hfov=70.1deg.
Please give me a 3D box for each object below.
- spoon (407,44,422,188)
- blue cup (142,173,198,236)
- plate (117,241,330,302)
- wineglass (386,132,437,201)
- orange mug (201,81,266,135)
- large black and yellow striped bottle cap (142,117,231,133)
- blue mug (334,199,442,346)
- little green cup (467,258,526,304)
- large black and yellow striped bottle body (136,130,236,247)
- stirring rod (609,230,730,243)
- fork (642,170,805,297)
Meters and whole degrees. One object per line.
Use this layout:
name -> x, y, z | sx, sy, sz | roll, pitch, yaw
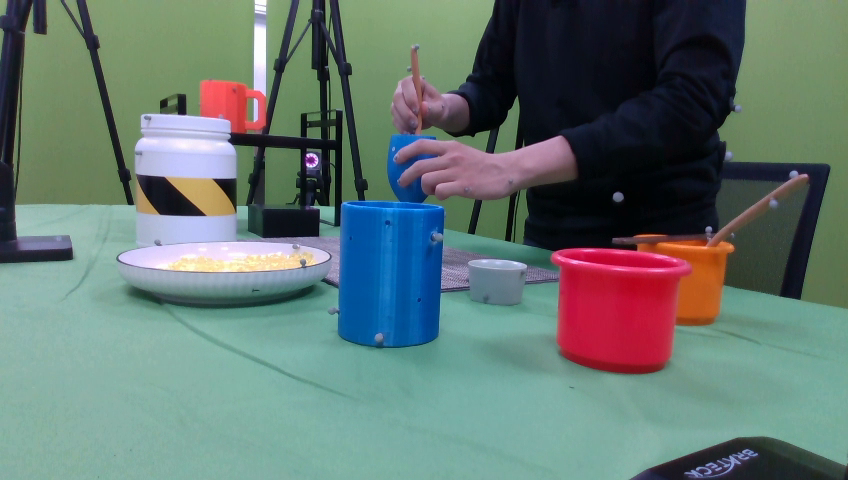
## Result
spoon -> -0.013, -0.169, 0.832 | 0.022, 0.193, 0.041 | -1, 7, -16
blue cup -> -0.425, -0.060, 1.014 | 0.093, 0.100, 0.092 | 4, 9, 0
plate -> -0.203, 0.031, 0.630 | 0.209, 0.038, 0.209 | 3, 7, 0
wineglass -> -0.019, -0.061, 0.842 | 0.074, 0.172, 0.073 | 2, 8, 0
orange mug -> -0.377, -0.260, 1.198 | 0.126, 0.101, 0.083 | -3, 8, -6
large black and yellow striped bottle cap -> -0.328, -0.159, 0.839 | 0.115, 0.019, 0.115 | 1, 9, 0
blue mug -> -0.034, 0.020, 0.498 | 0.083, 0.106, 0.116 | 0, 7, -20
little green cup -> 0.074, 0.042, 0.625 | 0.061, 0.038, 0.061 | 3, 8, 0
large black and yellow striped bottle body -> -0.332, -0.076, 0.851 | 0.131, 0.184, 0.130 | 3, 8, 0
stirring rod -> 0.241, -0.004, 0.582 | 0.177, 0.006, 0.014 | -4, 9, -33
fork -> 0.261, 0.004, 0.545 | 0.028, 0.018, 0.207 | 6, -38, -15
